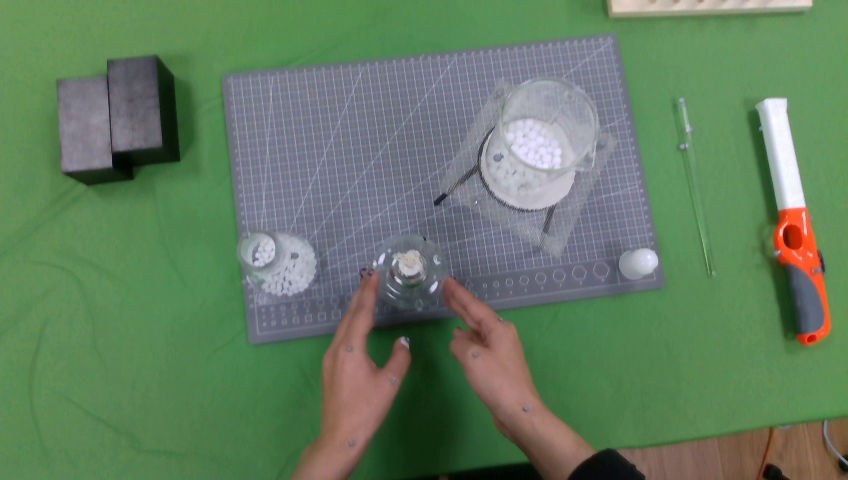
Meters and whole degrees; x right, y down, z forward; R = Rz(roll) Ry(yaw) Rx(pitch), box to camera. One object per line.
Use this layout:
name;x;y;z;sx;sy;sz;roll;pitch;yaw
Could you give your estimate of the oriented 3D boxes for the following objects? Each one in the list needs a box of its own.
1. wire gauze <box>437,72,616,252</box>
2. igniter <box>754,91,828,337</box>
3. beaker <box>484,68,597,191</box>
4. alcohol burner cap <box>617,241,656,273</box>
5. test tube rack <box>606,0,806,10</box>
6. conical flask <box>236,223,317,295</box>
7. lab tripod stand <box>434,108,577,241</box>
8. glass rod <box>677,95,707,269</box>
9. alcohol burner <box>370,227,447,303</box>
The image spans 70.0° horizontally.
wire gauze;0.091;-0.072;0.538;0.125;0.011;0.121;30;84;0
igniter;0.407;-0.032;0.673;0.057;0.025;0.275;-4;82;-15
beaker;0.090;-0.081;0.491;0.084;0.100;0.074;43;83;3
alcohol burner cap;0.229;0.016;0.646;0.034;0.048;0.033;1;81;-3
test tube rack;0.334;-0.315;0.678;0.242;0.085;0.066;-4;82;-3
conical flask;-0.147;0.013;0.584;0.075;0.122;0.075;1;82;-3
lab tripod stand;0.085;-0.064;0.603;0.148;0.131;0.148;0;84;-2
glass rod;0.302;-0.066;0.681;0.008;0.008;0.199;-6;85;-4
alcohol burner;-0.016;0.023;0.595;0.078;0.119;0.077;0;82;-1
